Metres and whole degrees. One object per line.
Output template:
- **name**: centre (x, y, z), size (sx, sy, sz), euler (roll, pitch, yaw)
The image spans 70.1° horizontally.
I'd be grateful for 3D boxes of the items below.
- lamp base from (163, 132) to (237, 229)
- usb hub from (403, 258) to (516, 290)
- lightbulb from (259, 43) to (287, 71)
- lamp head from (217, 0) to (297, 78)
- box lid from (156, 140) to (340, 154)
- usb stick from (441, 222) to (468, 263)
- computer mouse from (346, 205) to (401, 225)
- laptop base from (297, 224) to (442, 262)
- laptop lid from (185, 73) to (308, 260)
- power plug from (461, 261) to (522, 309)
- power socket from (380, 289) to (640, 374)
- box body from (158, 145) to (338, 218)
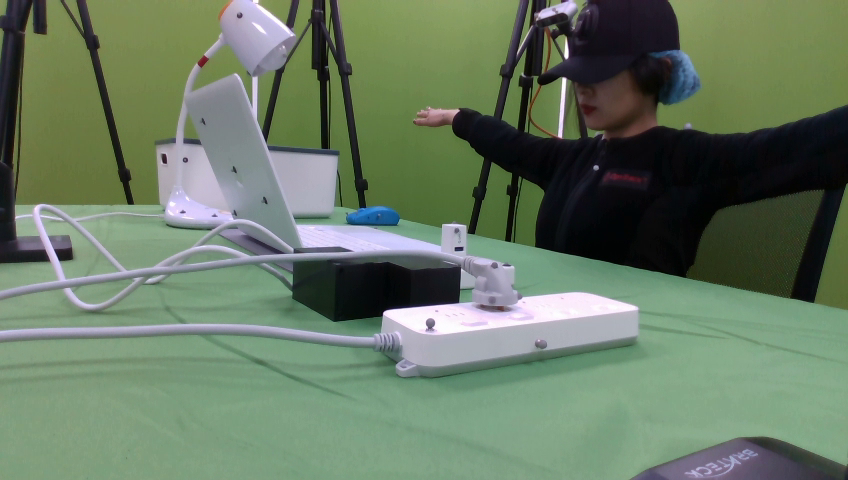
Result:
- **lamp base**: centre (-0.419, -0.116, 1.156), size (0.179, 0.180, 0.160), euler (0, 7, 0)
- **usb hub**: centre (0.042, 0.038, 0.690), size (0.126, 0.025, 0.049), euler (-2, 9, -30)
- **lightbulb**: centre (-0.295, -0.358, 1.103), size (0.059, 0.107, 0.059), euler (-37, 0, 0)
- **lamp head**: centre (-0.315, -0.372, 1.102), size (0.123, 0.112, 0.112), euler (41, 3, -9)
- **box lid**: centre (-0.409, -0.213, 1.404), size (0.373, 0.015, 0.262), euler (-2, 8, -32)
- **usb stick**: centre (0.034, 0.009, 0.685), size (0.021, 0.059, 0.027), euler (-2, 10, -30)
- **computer mouse**: centre (-0.112, -0.055, 1.335), size (0.118, 0.041, 0.062), euler (-5, 11, -21)
- **laptop base**: centre (-0.127, 0.003, 0.946), size (0.237, 0.023, 0.352), euler (2, 6, -31)
- **laptop lid**: centre (-0.262, -0.101, 0.850), size (0.013, 0.242, 0.355), euler (-26, 21, -25)
- **power plug**: centre (0.043, 0.043, 0.444), size (0.035, 0.052, 0.073), euler (-5, 8, 44)
- **power socket**: centre (0.072, 0.064, 0.461), size (0.228, 0.032, 0.072), euler (-3, 7, -30)
- **box body**: centre (-0.410, -0.139, 1.414), size (0.366, 0.160, 0.253), euler (-3, 8, -33)
